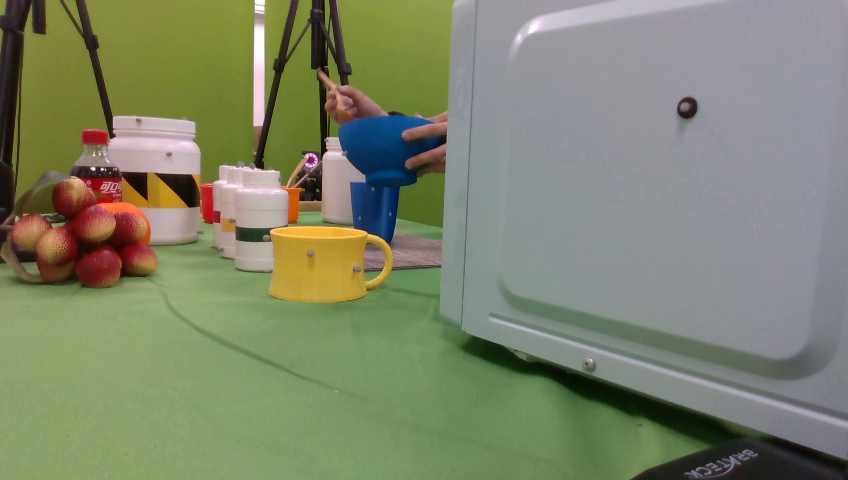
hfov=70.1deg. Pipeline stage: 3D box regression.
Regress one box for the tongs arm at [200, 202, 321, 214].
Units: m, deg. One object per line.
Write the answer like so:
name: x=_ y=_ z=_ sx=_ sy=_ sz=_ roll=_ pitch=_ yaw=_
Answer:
tongs arm: x=-0.378 y=-0.079 z=1.440 sx=0.387 sy=0.026 sz=0.050 roll=-4 pitch=7 yaw=-44

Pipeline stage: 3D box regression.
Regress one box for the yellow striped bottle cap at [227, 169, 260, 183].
yellow striped bottle cap: x=-0.243 y=-0.086 z=0.818 sx=0.044 sy=0.018 sz=0.044 roll=3 pitch=6 yaw=0

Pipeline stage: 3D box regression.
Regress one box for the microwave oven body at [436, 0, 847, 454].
microwave oven body: x=0.279 y=-0.040 z=0.465 sx=0.444 sy=0.260 sz=0.324 roll=-3 pitch=9 yaw=-41

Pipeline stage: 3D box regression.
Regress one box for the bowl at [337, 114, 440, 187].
bowl: x=-0.049 y=-0.121 z=0.871 sx=0.151 sy=0.076 sz=0.151 roll=-2 pitch=-5 yaw=0

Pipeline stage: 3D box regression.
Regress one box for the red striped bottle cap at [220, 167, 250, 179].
red striped bottle cap: x=-0.281 y=-0.100 z=0.901 sx=0.044 sy=0.017 sz=0.044 roll=-1 pitch=4 yaw=0

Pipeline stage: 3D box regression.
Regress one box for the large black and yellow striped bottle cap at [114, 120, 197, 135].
large black and yellow striped bottle cap: x=-0.407 y=-0.171 z=0.920 sx=0.115 sy=0.019 sz=0.115 roll=2 pitch=9 yaw=0

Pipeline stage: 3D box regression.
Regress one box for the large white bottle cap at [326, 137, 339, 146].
large white bottle cap: x=-0.158 y=-0.214 z=1.329 sx=0.115 sy=0.018 sz=0.115 roll=2 pitch=7 yaw=0

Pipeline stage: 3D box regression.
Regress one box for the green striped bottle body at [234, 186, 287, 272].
green striped bottle body: x=-0.200 y=-0.023 z=0.743 sx=0.063 sy=0.119 sz=0.063 roll=2 pitch=7 yaw=0

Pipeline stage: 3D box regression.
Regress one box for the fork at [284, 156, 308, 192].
fork: x=-0.295 y=-0.116 z=1.323 sx=0.028 sy=0.019 sz=0.207 roll=1 pitch=50 yaw=21

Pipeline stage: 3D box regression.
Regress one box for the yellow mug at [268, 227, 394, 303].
yellow mug: x=-0.094 y=0.023 z=0.629 sx=0.131 sy=0.064 sz=0.099 roll=0 pitch=7 yaw=-21

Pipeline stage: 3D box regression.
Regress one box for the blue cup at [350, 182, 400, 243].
blue cup: x=-0.082 y=-0.047 z=1.014 sx=0.093 sy=0.100 sz=0.092 roll=2 pitch=6 yaw=0

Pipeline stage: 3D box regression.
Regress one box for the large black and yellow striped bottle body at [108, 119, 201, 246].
large black and yellow striped bottle body: x=-0.412 y=-0.088 z=0.930 sx=0.131 sy=0.184 sz=0.130 roll=3 pitch=7 yaw=0

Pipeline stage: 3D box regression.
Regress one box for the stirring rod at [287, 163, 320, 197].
stirring rod: x=-0.283 y=-0.107 z=1.298 sx=0.014 sy=0.006 sz=0.176 roll=10 pitch=53 yaw=50

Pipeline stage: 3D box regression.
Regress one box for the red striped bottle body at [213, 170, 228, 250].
red striped bottle body: x=-0.283 y=-0.047 z=0.910 sx=0.063 sy=0.119 sz=0.063 roll=2 pitch=14 yaw=0

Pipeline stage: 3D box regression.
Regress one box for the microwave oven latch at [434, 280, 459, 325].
microwave oven latch: x=0.044 y=0.045 z=0.470 sx=0.079 sy=0.029 sz=0.030 roll=-2 pitch=8 yaw=-39

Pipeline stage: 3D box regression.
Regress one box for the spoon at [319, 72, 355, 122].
spoon: x=-0.146 y=-0.241 z=1.017 sx=0.021 sy=0.042 sz=0.193 roll=-34 pitch=45 yaw=6

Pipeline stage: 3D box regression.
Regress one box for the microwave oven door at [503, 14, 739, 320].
microwave oven door: x=0.217 y=-0.065 z=0.600 sx=0.358 sy=0.243 sz=0.039 roll=-4 pitch=10 yaw=-41

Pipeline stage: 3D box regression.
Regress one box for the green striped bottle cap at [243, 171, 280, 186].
green striped bottle cap: x=-0.198 y=-0.074 z=0.736 sx=0.044 sy=0.020 sz=0.044 roll=1 pitch=7 yaw=0

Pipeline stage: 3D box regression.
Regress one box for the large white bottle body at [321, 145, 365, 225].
large white bottle body: x=-0.162 y=-0.131 z=1.341 sx=0.131 sy=0.184 sz=0.130 roll=2 pitch=8 yaw=0

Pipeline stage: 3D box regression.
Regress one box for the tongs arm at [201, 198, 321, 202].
tongs arm: x=-0.433 y=-0.089 z=1.508 sx=0.390 sy=0.028 sz=0.028 roll=-1 pitch=2 yaw=-29

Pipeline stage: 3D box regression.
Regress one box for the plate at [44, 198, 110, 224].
plate: x=-0.617 y=-0.056 z=1.179 sx=0.209 sy=0.038 sz=0.209 roll=3 pitch=7 yaw=0

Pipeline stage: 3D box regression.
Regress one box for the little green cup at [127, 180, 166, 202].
little green cup: x=-0.485 y=-0.086 z=1.061 sx=0.061 sy=0.038 sz=0.061 roll=1 pitch=7 yaw=0

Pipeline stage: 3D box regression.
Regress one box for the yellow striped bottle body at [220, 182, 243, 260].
yellow striped bottle body: x=-0.245 y=-0.035 z=0.825 sx=0.063 sy=0.120 sz=0.063 roll=2 pitch=6 yaw=0
